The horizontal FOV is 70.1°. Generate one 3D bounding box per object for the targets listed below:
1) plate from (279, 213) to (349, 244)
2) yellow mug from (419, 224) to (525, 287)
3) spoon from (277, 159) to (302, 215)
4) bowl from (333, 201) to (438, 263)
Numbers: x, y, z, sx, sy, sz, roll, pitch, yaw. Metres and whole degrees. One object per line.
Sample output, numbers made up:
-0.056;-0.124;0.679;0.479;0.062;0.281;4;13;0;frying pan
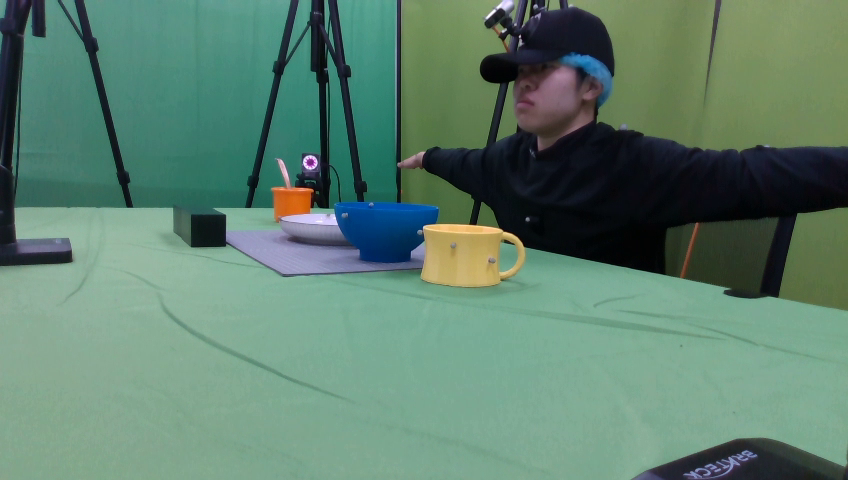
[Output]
-0.147;-0.020;1.060;0.209;0.038;0.209;2;7;0;plate
0.060;0.018;0.746;0.131;0.064;0.100;3;7;-7;yellow mug
-0.308;-0.117;1.368;0.042;0.193;0.021;3;-39;-32;spoon
-0.056;-0.011;0.866;0.151;0.077;0.151;3;8;0;bowl
